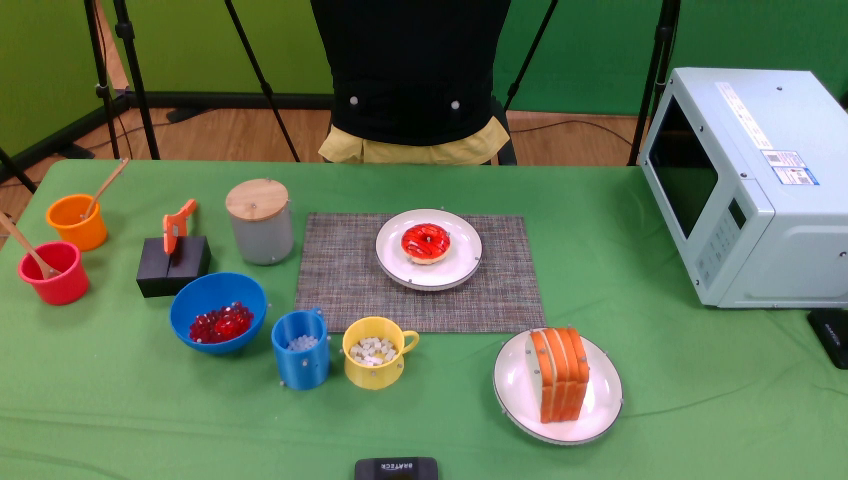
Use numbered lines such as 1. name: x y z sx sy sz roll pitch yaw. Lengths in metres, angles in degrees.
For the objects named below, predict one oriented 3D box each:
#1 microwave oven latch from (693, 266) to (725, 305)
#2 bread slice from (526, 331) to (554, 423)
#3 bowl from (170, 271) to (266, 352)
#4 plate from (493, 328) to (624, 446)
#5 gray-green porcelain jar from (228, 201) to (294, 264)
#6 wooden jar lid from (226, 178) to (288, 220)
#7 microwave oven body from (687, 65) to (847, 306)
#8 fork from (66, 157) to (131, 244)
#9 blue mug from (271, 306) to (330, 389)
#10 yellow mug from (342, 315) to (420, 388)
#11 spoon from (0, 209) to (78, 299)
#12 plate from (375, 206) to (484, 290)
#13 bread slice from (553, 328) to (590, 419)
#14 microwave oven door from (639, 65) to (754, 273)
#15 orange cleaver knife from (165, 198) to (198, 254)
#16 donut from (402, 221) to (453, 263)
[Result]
1. microwave oven latch: 0.523 0.082 1.115 0.030 0.029 0.078 3 46 0
2. bread slice: 0.176 0.202 0.929 0.019 0.132 0.104 -9 45 -1
3. bowl: -0.333 0.132 1.006 0.151 0.077 0.150 2 46 -2
4. plate: 0.213 0.236 0.974 0.208 0.039 0.206 2 46 -2
5. gray-green porcelain jar: -0.300 -0.027 1.126 0.106 0.127 0.105 2 46 -2
6. wooden jar lid: -0.296 -0.070 1.081 0.108 0.021 0.107 1 45 -1
7. microwave oven body: 0.669 -0.111 1.176 0.326 0.261 0.439 0 46 -3
8. fork: -0.608 -0.074 1.133 0.207 0.019 0.028 -52 47 10
9. blue mug: -0.188 0.163 0.969 0.082 0.106 0.116 15 47 10
10. yellow mug: -0.068 0.177 0.991 0.131 0.064 0.099 -15 50 -19
11. spoon: -0.668 0.022 1.040 0.041 0.021 0.194 -41 105 -29
12. plate: 0.009 0.019 1.160 0.209 0.038 0.208 2 47 -2
13. bread slice: 0.226 0.201 0.932 0.018 0.135 0.106 -4 50 -4
14. microwave oven door: 0.522 -0.147 1.193 0.039 0.245 0.353 0 47 -3
15. orange cleaver knife: -0.458 -0.031 1.149 0.012 0.077 0.210 -2 17 -6
16. donut: 0.006 0.002 1.160 0.099 0.048 0.098 1 44 0
